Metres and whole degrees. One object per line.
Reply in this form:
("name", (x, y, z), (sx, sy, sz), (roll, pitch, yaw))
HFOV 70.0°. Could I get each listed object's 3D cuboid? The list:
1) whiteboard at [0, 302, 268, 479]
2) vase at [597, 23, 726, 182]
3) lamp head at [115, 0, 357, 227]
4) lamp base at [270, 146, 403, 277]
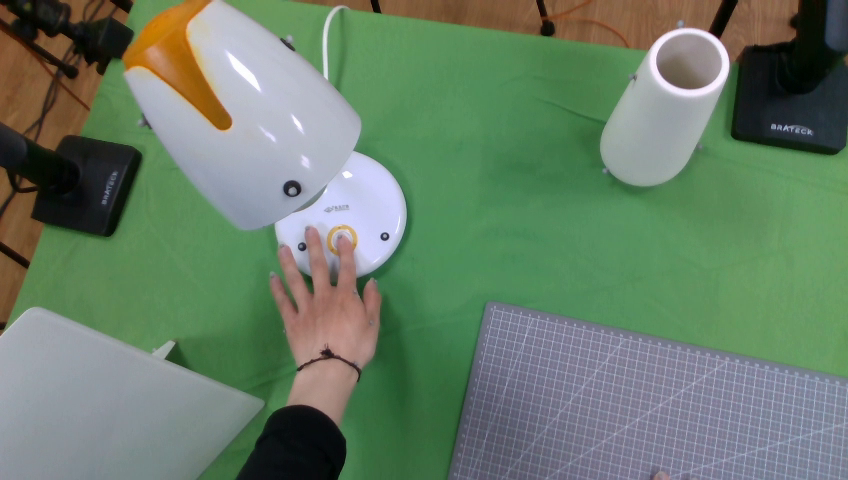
("whiteboard", (-0.344, 0.157, 0.586), (0.217, 0.309, 0.142), (-46, 56, -6))
("vase", (0.239, -0.133, 0.618), (0.098, 0.201, 0.097), (-1, 74, 5))
("lamp head", (-0.119, -0.088, 0.370), (0.112, 0.124, 0.111), (-27, 33, 20))
("lamp base", (-0.117, -0.065, 0.650), (0.160, 0.181, 0.178), (-19, 72, 1))
